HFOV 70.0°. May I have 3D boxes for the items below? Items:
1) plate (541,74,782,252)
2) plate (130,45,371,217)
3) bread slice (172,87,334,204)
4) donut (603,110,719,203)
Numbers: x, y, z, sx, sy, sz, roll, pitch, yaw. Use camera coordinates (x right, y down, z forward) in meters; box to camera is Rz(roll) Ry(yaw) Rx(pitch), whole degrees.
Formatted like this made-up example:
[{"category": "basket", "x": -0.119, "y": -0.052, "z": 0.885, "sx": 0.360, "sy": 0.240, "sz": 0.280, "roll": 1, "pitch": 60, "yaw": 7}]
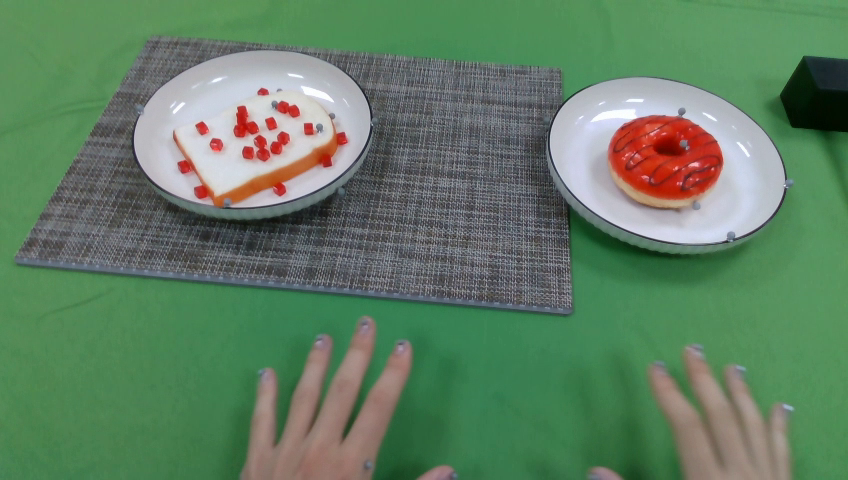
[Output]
[{"category": "plate", "x": 0.208, "y": -0.070, "z": 0.550, "sx": 0.208, "sy": 0.039, "sz": 0.205, "roll": 1, "pitch": 54, "yaw": -1}, {"category": "plate", "x": -0.153, "y": -0.099, "z": 0.552, "sx": 0.209, "sy": 0.038, "sz": 0.207, "roll": 1, "pitch": 54, "yaw": -1}, {"category": "bread slice", "x": -0.151, "y": -0.095, "z": 0.551, "sx": 0.131, "sy": 0.019, "sz": 0.104, "roll": -30, "pitch": 61, "yaw": -20}, {"category": "donut", "x": 0.209, "y": -0.076, "z": 0.539, "sx": 0.099, "sy": 0.048, "sz": 0.098, "roll": 0, "pitch": 55, "yaw": 1}]
